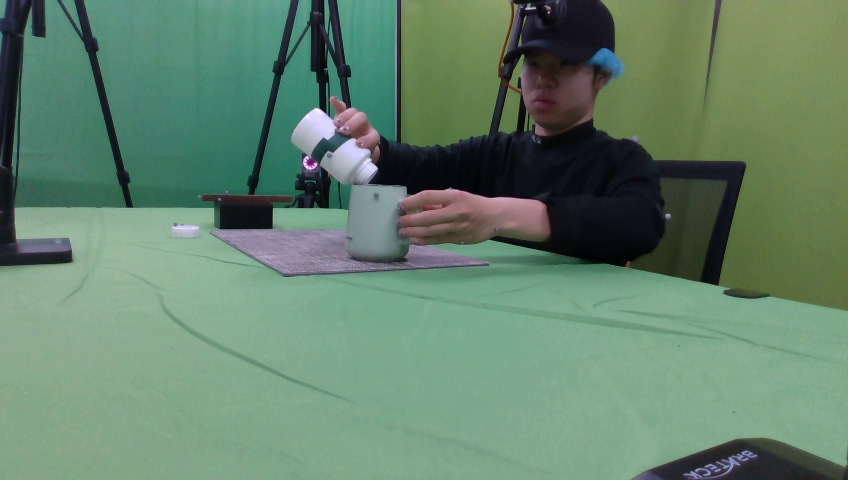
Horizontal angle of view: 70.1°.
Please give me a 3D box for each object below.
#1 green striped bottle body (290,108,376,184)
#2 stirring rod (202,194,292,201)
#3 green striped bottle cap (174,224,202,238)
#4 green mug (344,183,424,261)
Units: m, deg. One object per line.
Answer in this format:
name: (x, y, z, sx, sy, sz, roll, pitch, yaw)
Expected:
green striped bottle body: (-0.125, -0.127, 0.858, 0.119, 0.063, 0.063, 39, 8, -2)
stirring rod: (-0.353, -0.086, 1.216, 0.177, 0.014, 0.006, -2, 12, -27)
green striped bottle cap: (-0.404, -0.015, 1.036, 0.044, 0.020, 0.044, -2, 8, 1)
green mug: (-0.053, -0.026, 0.849, 0.125, 0.105, 0.093, 7, 8, 33)
